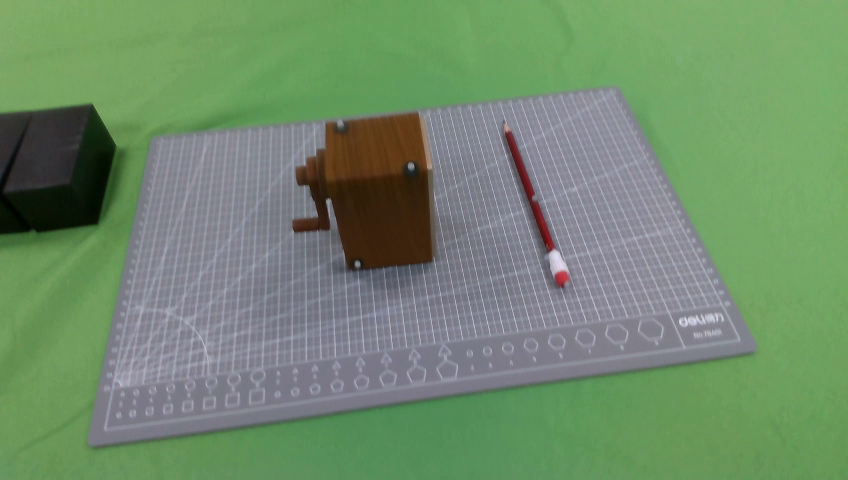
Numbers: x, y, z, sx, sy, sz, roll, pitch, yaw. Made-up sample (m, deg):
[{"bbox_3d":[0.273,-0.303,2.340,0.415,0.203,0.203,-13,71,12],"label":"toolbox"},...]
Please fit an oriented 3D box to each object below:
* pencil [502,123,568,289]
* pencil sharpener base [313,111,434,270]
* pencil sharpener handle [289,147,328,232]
[{"bbox_3d":[0.088,-0.038,0.508,0.012,0.012,0.192,-8,50,-4],"label":"pencil"},{"bbox_3d":[-0.034,-0.033,0.444,0.077,0.108,0.060,-7,52,-2],"label":"pencil sharpener base"},{"bbox_3d":[-0.085,-0.032,0.430,0.031,0.068,0.035,-7,42,-2],"label":"pencil sharpener handle"}]
